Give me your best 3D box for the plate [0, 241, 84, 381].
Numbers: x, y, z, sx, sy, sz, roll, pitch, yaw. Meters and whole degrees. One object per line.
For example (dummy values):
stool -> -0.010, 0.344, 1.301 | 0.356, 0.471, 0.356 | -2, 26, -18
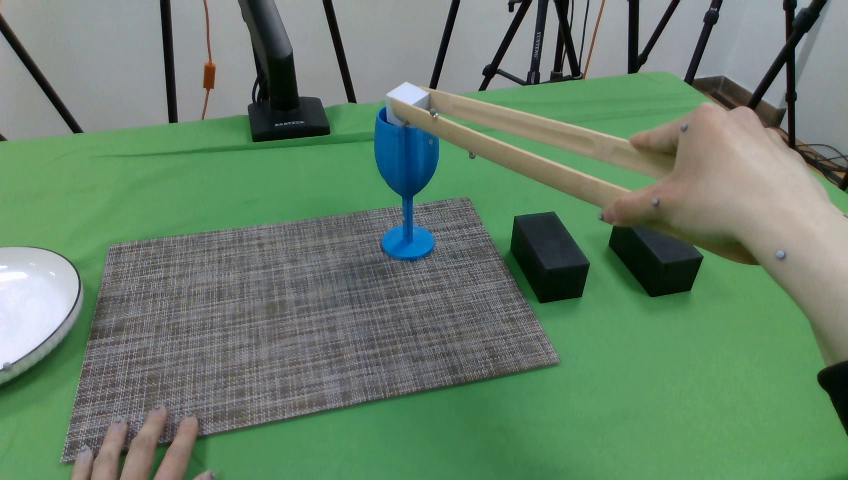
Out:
plate -> -0.448, 0.079, 0.601 | 0.209, 0.038, 0.207 | 1, 39, 0

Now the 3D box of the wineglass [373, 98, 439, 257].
wineglass -> -0.020, -0.067, 0.684 | 0.074, 0.174, 0.073 | 1, 39, 0

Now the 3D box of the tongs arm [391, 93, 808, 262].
tongs arm -> 0.102, -0.070, 0.495 | 0.051, 0.027, 0.380 | -31, 42, -25

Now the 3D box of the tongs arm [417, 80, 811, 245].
tongs arm -> 0.120, -0.083, 0.506 | 0.028, 0.028, 0.383 | -31, 41, -30
